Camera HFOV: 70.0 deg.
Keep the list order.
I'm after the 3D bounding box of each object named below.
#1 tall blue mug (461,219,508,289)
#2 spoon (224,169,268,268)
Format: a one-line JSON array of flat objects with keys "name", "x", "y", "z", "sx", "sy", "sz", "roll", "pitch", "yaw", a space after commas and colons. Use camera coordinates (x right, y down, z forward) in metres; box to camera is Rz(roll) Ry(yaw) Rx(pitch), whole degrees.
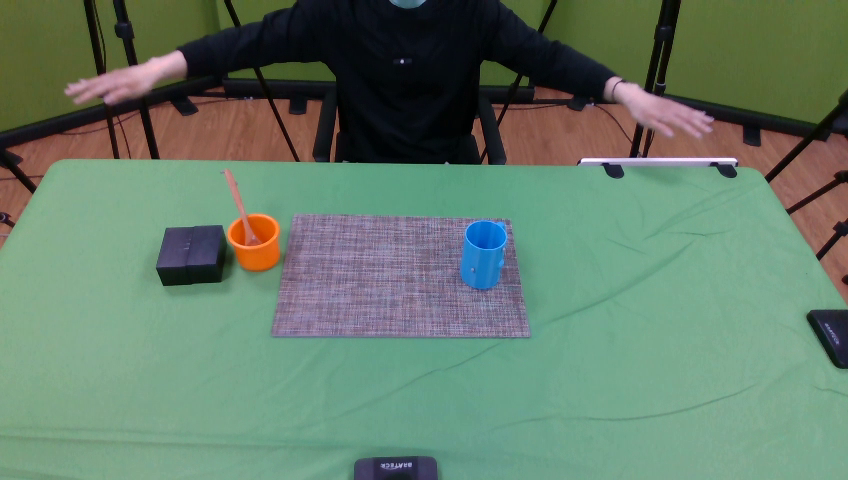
[{"name": "tall blue mug", "x": 0.111, "y": 0.016, "z": 1.121, "sx": 0.078, "sy": 0.108, "sz": 0.106, "roll": 6, "pitch": 46, "yaw": 4}, {"name": "spoon", "x": -0.333, "y": -0.040, "z": 1.124, "sx": 0.041, "sy": 0.194, "sz": 0.021, "roll": -18, "pitch": 6, "yaw": -18}]
